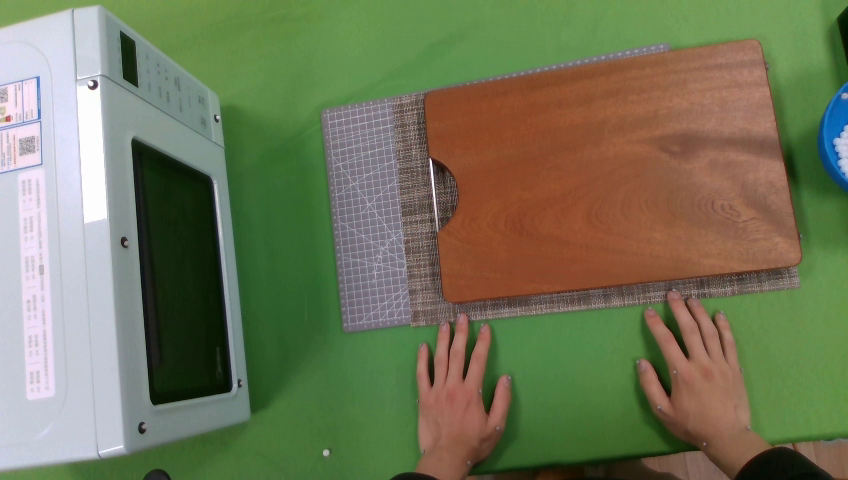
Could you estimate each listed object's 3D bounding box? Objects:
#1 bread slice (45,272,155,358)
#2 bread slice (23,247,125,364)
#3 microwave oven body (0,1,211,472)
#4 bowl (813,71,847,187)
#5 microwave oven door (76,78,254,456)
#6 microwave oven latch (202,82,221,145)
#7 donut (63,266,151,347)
[{"bbox_3d":[-0.403,0.091,0.751,0.131,0.019,0.105,2,89,2],"label":"bread slice"},{"bbox_3d":[-0.392,0.082,0.672,0.134,0.018,0.106,-24,81,20],"label":"bread slice"},{"bbox_3d":[-0.424,0.020,0.701,0.326,0.261,0.440,-11,81,8],"label":"microwave oven body"},{"bbox_3d":[0.491,-0.112,0.653,0.151,0.077,0.151,-1,82,10],"label":"bowl"},{"bbox_3d":[-0.277,0.033,0.668,0.039,0.245,0.354,-11,80,9],"label":"microwave oven door"},{"bbox_3d":[-0.290,-0.165,0.801,0.030,0.029,0.079,-11,81,8],"label":"microwave oven latch"},{"bbox_3d":[-0.376,0.079,0.719,0.099,0.048,0.099,0,98,-3],"label":"donut"}]
